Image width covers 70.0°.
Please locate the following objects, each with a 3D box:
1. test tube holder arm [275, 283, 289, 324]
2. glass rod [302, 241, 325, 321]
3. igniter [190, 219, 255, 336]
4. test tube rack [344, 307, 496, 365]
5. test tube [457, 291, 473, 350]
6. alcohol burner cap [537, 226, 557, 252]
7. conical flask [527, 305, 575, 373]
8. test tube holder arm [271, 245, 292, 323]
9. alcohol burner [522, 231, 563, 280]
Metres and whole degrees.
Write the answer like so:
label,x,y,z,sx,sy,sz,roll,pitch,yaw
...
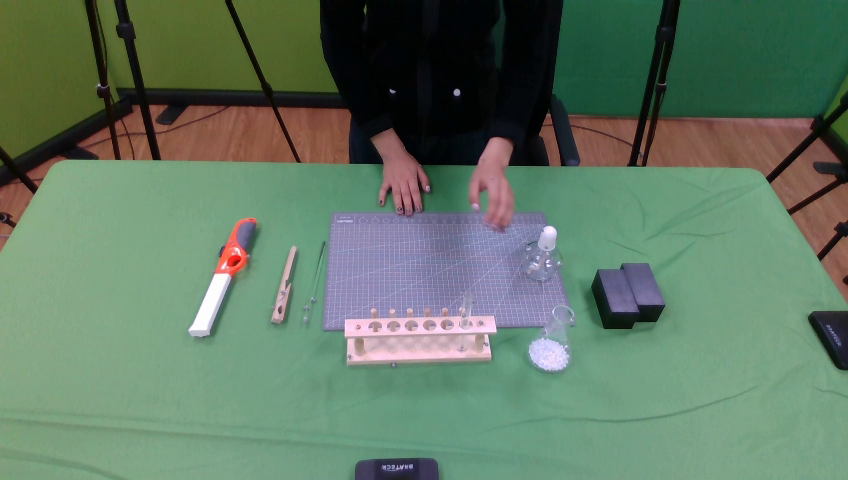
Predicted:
label,x,y,z,sx,sy,sz,roll,pitch,yaw
test tube holder arm,-0.254,0.111,1.077,0.010,0.015,0.087,30,38,-27
glass rod,-0.203,0.071,1.124,0.008,0.008,0.198,4,44,1
igniter,-0.365,0.058,1.110,0.057,0.025,0.275,-1,45,8
test tube rack,-0.009,0.154,1.007,0.242,0.085,0.066,-1,46,-5
test tube,0.064,0.132,0.965,0.017,0.151,0.017,1,48,-1
alcohol burner cap,0.226,-0.004,1.104,0.034,0.048,0.033,0,50,1
conical flask,0.215,0.157,0.996,0.075,0.122,0.075,2,46,-2
test tube holder arm,-0.259,0.076,1.106,0.013,0.015,0.177,29,38,-28
alcohol burner,0.224,0.020,1.131,0.078,0.119,0.077,4,46,-4
